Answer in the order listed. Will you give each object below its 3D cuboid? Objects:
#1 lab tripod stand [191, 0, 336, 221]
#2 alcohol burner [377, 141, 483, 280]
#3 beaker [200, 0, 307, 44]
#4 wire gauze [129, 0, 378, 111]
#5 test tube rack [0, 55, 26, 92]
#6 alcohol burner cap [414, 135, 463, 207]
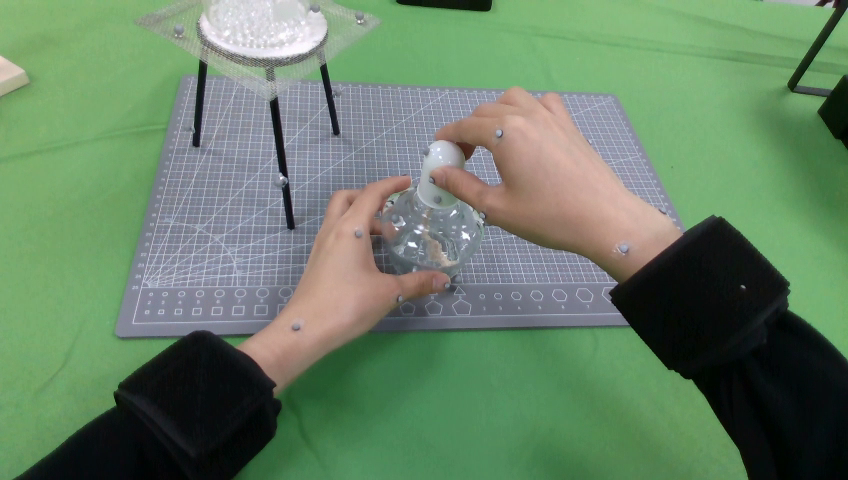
[{"bbox_3d":[-0.120,-0.109,0.471,0.149,0.132,0.147,6,49,-7],"label":"lab tripod stand"},{"bbox_3d":[0.007,-0.026,0.435,0.078,0.120,0.077,6,48,-6],"label":"alcohol burner"},{"bbox_3d":[-0.112,-0.184,0.384,0.073,0.101,0.084,31,53,16],"label":"beaker"},{"bbox_3d":[-0.114,-0.151,0.422,0.124,0.011,0.121,32,55,13],"label":"wire gauze"},{"bbox_3d":[-0.450,-0.118,0.458,0.066,0.086,0.241,30,51,16],"label":"test tube rack"},{"bbox_3d":[0.011,-0.048,0.407,0.034,0.048,0.033,3,52,-4],"label":"alcohol burner cap"}]
